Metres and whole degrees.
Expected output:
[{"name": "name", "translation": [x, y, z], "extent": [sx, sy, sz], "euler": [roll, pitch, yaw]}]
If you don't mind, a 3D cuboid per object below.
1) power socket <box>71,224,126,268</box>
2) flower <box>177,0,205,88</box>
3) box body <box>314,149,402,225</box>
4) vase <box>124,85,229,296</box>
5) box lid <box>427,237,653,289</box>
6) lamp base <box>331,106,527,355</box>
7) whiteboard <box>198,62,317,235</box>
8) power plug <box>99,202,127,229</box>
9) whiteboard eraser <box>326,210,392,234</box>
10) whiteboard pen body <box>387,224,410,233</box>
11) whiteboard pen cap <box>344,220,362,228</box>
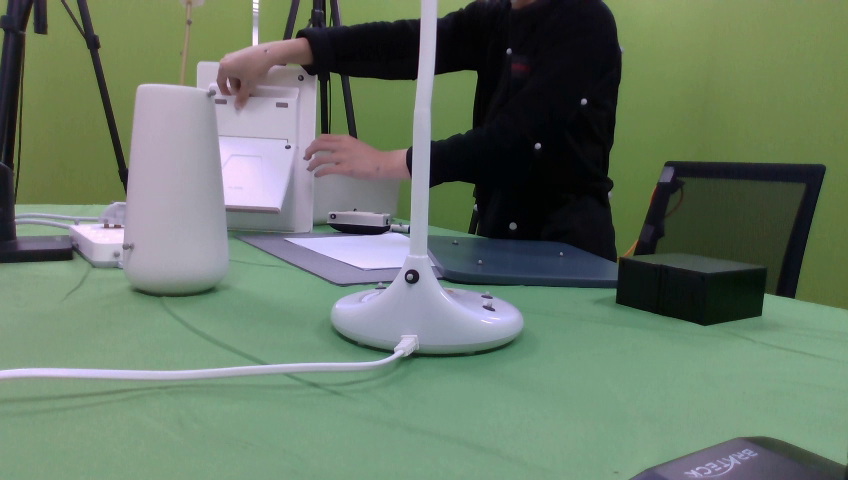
[{"name": "power socket", "translation": [-0.409, 0.004, 0.793], "extent": [0.072, 0.032, 0.225], "euler": [-2, 8, -37]}, {"name": "flower", "translation": [-0.243, -0.131, 0.609], "extent": [0.044, 0.361, 0.038], "euler": [-5, -12, 12]}, {"name": "box body", "translation": [-0.254, -0.128, 1.379], "extent": [0.253, 0.160, 0.366], "euler": [8, 9, 36]}, {"name": "vase", "translation": [-0.244, -0.047, 0.598], "extent": [0.098, 0.200, 0.098], "euler": [3, 8, 0]}, {"name": "box lid", "translation": [0.139, 0.028, 0.886], "extent": [0.264, 0.015, 0.371], "euler": [2, 7, -6]}, {"name": "lamp base", "translation": [0.006, -0.012, 0.478], "extent": [0.161, 0.180, 0.179], "euler": [2, 10, 2]}, {"name": "whiteboard", "translation": [-0.311, -0.159, 1.042], "extent": [0.217, 0.305, 0.144], "euler": [3, 6, 2]}, {"name": "power plug", "translation": [-0.414, -0.026, 0.848], "extent": [0.073, 0.052, 0.035], "euler": [5, 5, -27]}, {"name": "whiteboard eraser", "translation": [-0.121, -0.033, 1.131], "extent": [0.112, 0.042, 0.056], "euler": [4, 8, 13]}, {"name": "whiteboard pen body", "translation": [-0.088, -0.026, 1.213], "extent": [0.140, 0.017, 0.017], "euler": [5, 8, 18]}, {"name": "whiteboard pen cap", "translation": [-0.144, -0.032, 1.230], "extent": [0.033, 0.018, 0.018], "euler": [4, 8, 17]}]
